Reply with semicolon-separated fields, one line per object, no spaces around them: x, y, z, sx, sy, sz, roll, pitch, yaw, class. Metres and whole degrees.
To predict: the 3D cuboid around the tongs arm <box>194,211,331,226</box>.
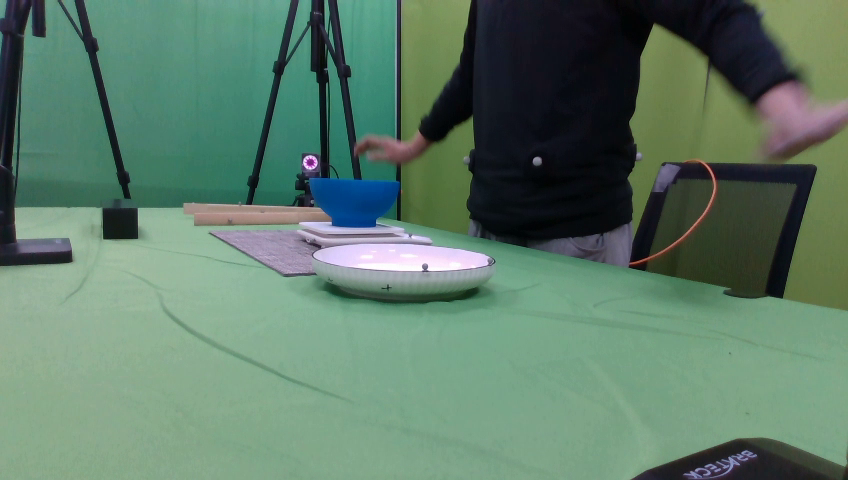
-0.298;-0.049;1.307;0.390;0.028;0.028;-3;8;-37;tongs arm

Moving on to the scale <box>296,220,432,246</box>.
-0.101;-0.012;1.017;0.202;0.031;0.148;-1;8;-30;scale

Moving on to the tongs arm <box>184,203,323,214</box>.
-0.337;-0.065;1.376;0.387;0.026;0.050;0;10;-25;tongs arm

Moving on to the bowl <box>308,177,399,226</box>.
-0.116;-0.064;1.001;0.151;0.077;0.151;2;6;0;bowl

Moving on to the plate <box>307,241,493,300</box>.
-0.027;0.034;0.684;0.208;0.039;0.207;2;7;0;plate
